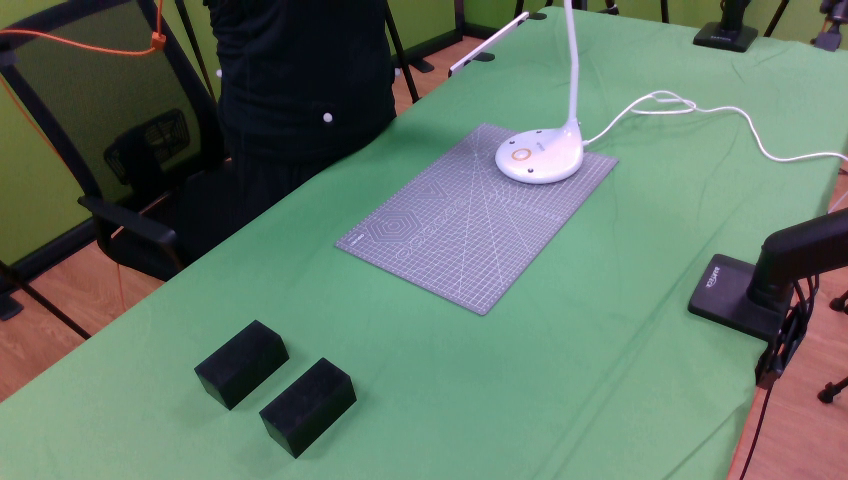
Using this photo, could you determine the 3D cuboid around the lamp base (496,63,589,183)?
[{"bbox_3d":[0.216,-0.217,1.067,0.180,0.181,0.159,-19,42,-18],"label":"lamp base"}]
